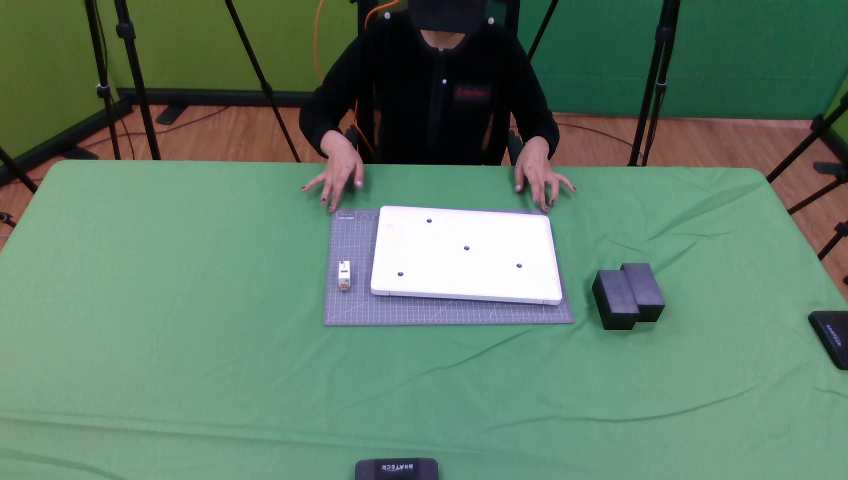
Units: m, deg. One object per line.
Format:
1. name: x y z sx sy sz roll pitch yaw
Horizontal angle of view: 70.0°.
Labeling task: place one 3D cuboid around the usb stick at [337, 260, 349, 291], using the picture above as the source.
1. usb stick: -0.148 0.067 1.115 0.021 0.027 0.059 -1 49 -5

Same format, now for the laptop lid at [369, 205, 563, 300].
1. laptop lid: 0.081 0.018 1.173 0.357 0.013 0.240 5 44 0

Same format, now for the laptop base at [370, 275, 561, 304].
1. laptop base: 0.080 0.028 1.180 0.354 0.023 0.234 3 43 -1
